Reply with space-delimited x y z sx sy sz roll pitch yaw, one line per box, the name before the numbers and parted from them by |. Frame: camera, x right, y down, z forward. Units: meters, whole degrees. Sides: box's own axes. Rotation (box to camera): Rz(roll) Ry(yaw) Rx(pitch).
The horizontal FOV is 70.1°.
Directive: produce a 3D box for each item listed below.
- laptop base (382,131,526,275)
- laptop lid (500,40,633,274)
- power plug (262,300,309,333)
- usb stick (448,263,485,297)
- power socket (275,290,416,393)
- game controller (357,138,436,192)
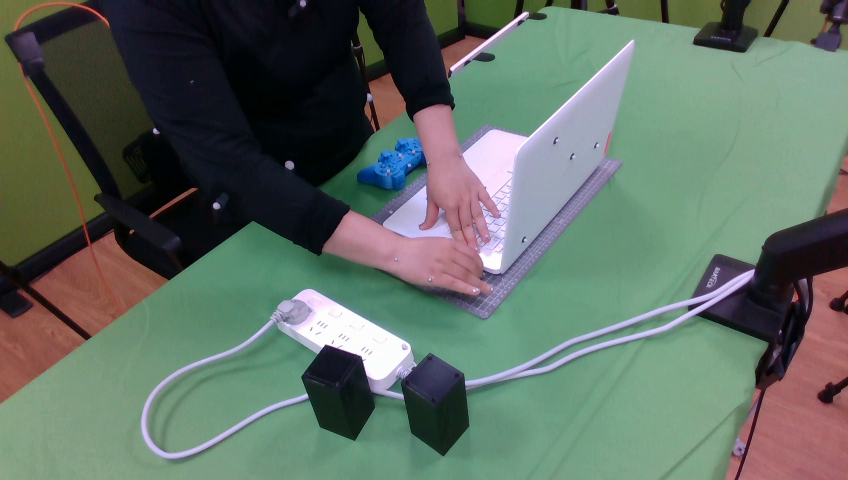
laptop base | 0.124 -0.080 1.049 0.233 0.023 0.355 20 47 32
laptop lid | 0.218 -0.127 0.905 0.013 0.242 0.358 27 49 25
power plug | -0.192 0.110 0.830 0.073 0.053 0.035 -36 48 -24
usb stick | 0.066 0.055 0.893 0.059 0.027 0.021 -38 48 -14
power socket | -0.114 0.133 0.820 0.225 0.033 0.072 24 48 31
game controller | -0.048 -0.149 1.136 0.096 0.052 0.155 26 51 29
